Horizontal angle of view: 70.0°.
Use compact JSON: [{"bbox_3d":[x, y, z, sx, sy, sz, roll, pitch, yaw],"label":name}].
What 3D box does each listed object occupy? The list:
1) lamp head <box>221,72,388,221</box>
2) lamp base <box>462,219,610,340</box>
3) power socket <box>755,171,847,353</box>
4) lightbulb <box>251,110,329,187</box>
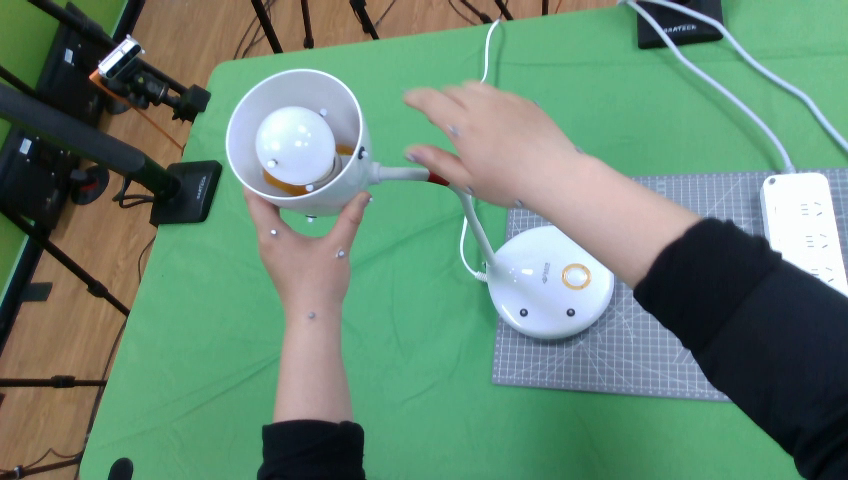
[{"bbox_3d":[-0.092,-0.066,0.521,0.112,0.124,0.112,-4,73,14],"label":"lamp head"},{"bbox_3d":[0.124,0.022,0.730,0.178,0.182,0.159,-7,62,20],"label":"lamp base"},{"bbox_3d":[0.437,0.017,0.705,0.072,0.033,0.225,-2,64,18],"label":"power socket"},{"bbox_3d":[-0.101,-0.068,0.498,0.059,0.108,0.059,-1,80,7],"label":"lightbulb"}]
